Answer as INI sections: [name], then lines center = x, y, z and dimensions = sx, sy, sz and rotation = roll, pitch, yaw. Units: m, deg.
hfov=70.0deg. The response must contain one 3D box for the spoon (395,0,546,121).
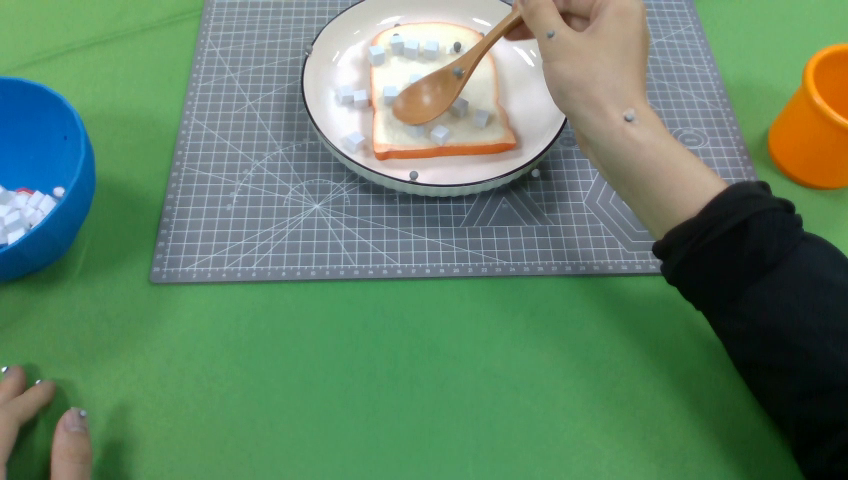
[spoon]
center = 0.057, -0.147, 0.419
dimensions = 0.194, 0.022, 0.041
rotation = -37, 54, 22

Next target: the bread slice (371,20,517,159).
[bread slice]
center = 0.007, -0.122, 0.485
dimensions = 0.107, 0.018, 0.133
rotation = -7, 63, -5

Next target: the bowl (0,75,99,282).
[bowl]
center = -0.282, -0.026, 0.399
dimensions = 0.151, 0.077, 0.150
rotation = 1, 61, -1

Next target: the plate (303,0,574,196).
[plate]
center = 0.011, -0.119, 0.480
dimensions = 0.209, 0.038, 0.207
rotation = 1, 62, -1
